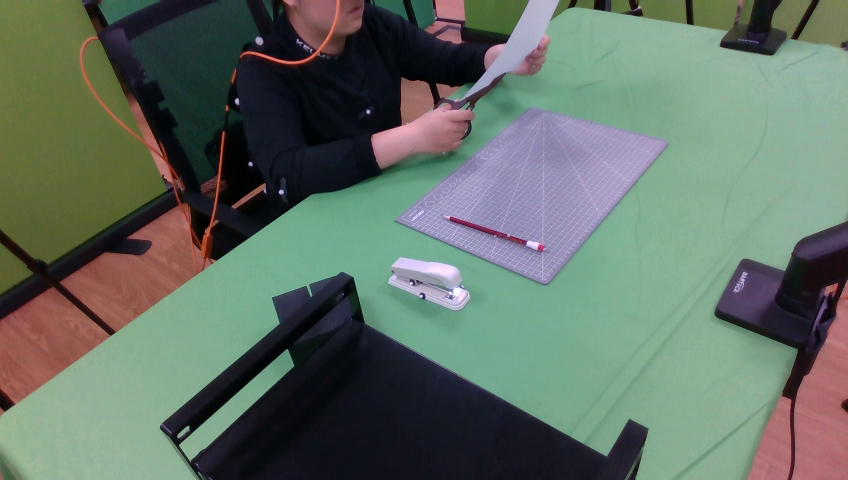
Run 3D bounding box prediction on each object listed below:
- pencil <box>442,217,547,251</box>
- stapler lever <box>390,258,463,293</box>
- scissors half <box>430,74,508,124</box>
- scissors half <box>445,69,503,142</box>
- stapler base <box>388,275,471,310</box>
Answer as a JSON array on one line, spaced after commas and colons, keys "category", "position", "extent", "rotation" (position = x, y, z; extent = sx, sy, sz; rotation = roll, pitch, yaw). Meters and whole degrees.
[{"category": "pencil", "position": [0.110, -0.012, 0.979], "extent": [0.192, 0.012, 0.012], "rotation": [18, 46, 30]}, {"category": "stapler lever", "position": [0.003, 0.046, 0.881], "extent": [0.117, 0.040, 0.027], "rotation": [17, 44, 29]}, {"category": "scissors half", "position": [0.082, -0.267, 1.132], "extent": [0.174, 0.040, 0.013], "rotation": [-22, 15, 30]}, {"category": "scissors half", "position": [0.096, -0.250, 1.135], "extent": [0.040, 0.175, 0.013], "rotation": [35, 34, -3]}, {"category": "stapler base", "position": [0.007, 0.066, 0.897], "extent": [0.129, 0.024, 0.041], "rotation": [17, 44, 29]}]
